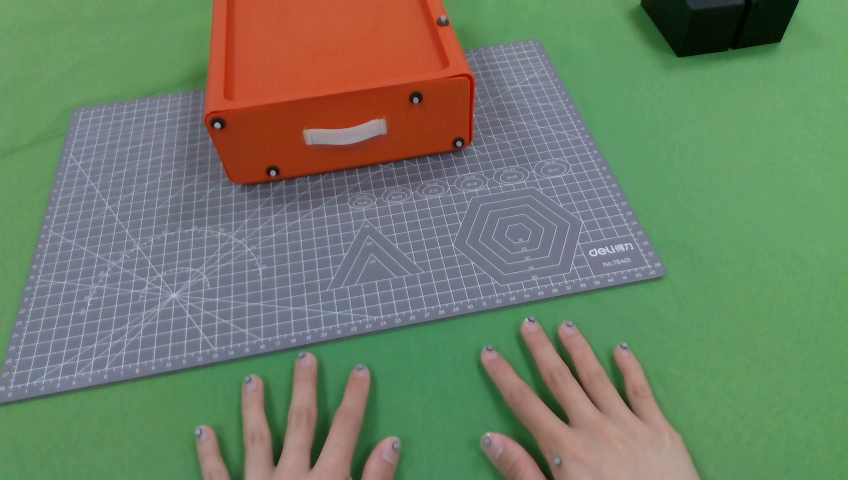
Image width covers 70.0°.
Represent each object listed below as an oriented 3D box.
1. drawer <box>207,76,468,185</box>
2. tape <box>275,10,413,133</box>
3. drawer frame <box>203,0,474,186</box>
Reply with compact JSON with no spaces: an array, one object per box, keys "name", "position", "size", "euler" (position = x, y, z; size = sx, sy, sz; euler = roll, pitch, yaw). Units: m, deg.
[{"name":"drawer","position":[-0.078,-0.155,0.531],"size":[0.195,0.074,0.209],"euler":[-11,50,-4]},{"name":"tape","position":[-0.070,-0.150,0.535],"size":[0.117,0.053,0.115],"euler":[-2,51,2]},{"name":"drawer frame","position":[-0.079,-0.157,0.531],"size":[0.202,0.083,0.211],"euler":[-11,50,-5]}]
